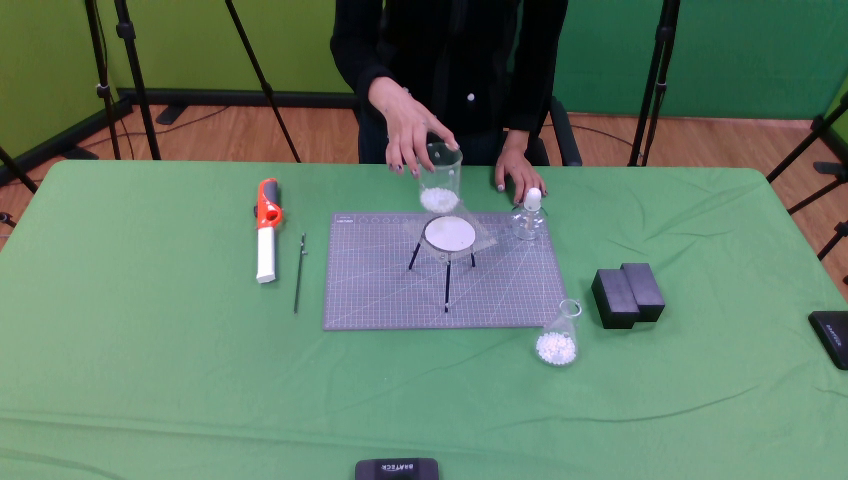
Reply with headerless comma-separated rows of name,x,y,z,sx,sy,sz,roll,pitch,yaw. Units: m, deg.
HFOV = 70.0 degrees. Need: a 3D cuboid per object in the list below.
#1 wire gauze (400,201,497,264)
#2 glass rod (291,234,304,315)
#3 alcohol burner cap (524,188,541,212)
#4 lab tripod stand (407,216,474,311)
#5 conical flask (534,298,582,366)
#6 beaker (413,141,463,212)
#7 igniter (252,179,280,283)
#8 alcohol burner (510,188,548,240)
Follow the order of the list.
wire gauze,0.042,-0.014,1.042,0.125,0.011,0.120,-22,50,-25
glass rod,-0.236,0.059,1.133,0.008,0.008,0.198,-1,46,-4
alcohol burner cap,0.212,-0.081,1.177,0.034,0.048,0.033,-1,53,2
lab tripod stand,0.039,0.030,1.092,0.148,0.132,0.147,2,44,-2
conical flask,0.229,0.149,1.005,0.075,0.122,0.075,2,46,-2
beaker,0.022,-0.103,1.018,0.084,0.101,0.073,-17,45,-17
igniter,-0.312,-0.027,1.197,0.057,0.025,0.274,-12,47,-1
alcohol burner,0.211,-0.057,1.204,0.078,0.120,0.077,1,47,-1
